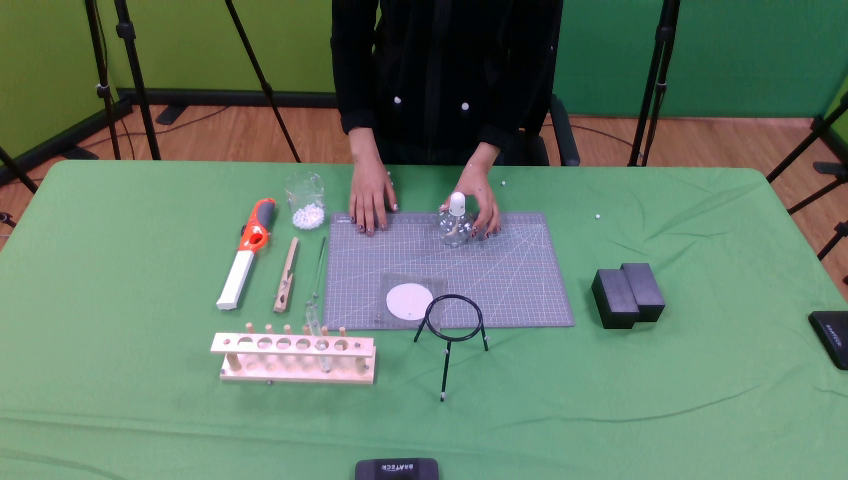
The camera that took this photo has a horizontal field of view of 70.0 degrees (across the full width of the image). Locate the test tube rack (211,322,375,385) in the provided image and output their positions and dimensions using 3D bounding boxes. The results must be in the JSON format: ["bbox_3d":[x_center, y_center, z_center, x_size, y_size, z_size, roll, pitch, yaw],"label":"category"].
[{"bbox_3d":[-0.203,0.176,0.969,0.242,0.085,0.066,3,46,-2],"label":"test tube rack"}]

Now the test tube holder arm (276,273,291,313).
[{"bbox_3d":[-0.254,0.093,1.094,0.010,0.015,0.087,28,39,-26],"label":"test tube holder arm"}]

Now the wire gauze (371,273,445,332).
[{"bbox_3d":[-0.028,0.108,1.100,0.125,0.011,0.121,7,45,4],"label":"wire gauze"}]

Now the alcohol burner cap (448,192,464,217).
[{"bbox_3d":[0.062,-0.071,1.155,0.034,0.048,0.033,0,51,0],"label":"alcohol burner cap"}]

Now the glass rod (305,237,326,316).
[{"bbox_3d":[-0.202,0.063,1.131,0.008,0.008,0.198,4,44,0],"label":"glass rod"}]

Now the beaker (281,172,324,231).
[{"bbox_3d":[-0.234,-0.073,1.199,0.084,0.101,0.074,24,50,17],"label":"beaker"}]

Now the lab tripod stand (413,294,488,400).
[{"bbox_3d":[0.044,0.159,0.972,0.148,0.132,0.147,2,44,-2],"label":"lab tripod stand"}]

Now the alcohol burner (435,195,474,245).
[{"bbox_3d":[0.061,-0.046,1.182,0.078,0.119,0.077,3,47,-3],"label":"alcohol burner"}]

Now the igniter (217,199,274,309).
[{"bbox_3d":[-0.336,0.017,1.153,0.057,0.025,0.275,-2,45,8],"label":"igniter"}]

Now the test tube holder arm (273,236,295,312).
[{"bbox_3d":[-0.259,0.059,1.123,0.013,0.015,0.177,27,39,-27],"label":"test tube holder arm"}]

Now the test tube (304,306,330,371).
[{"bbox_3d":[-0.162,0.153,0.925,0.017,0.151,0.017,-2,44,2],"label":"test tube"}]
